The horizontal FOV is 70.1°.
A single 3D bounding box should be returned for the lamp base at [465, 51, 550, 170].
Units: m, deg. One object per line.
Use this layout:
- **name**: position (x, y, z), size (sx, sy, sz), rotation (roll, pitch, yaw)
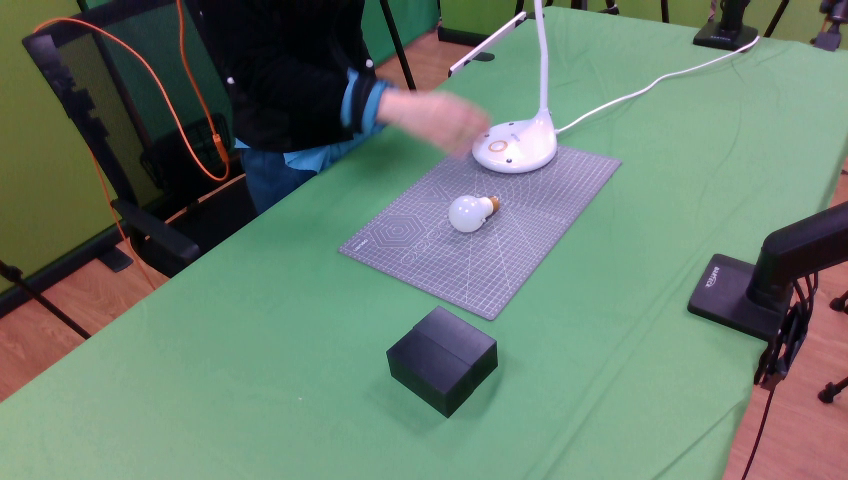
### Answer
- **lamp base**: position (0.160, -0.244, 1.103), size (0.180, 0.181, 0.159), rotation (-31, 46, -30)
